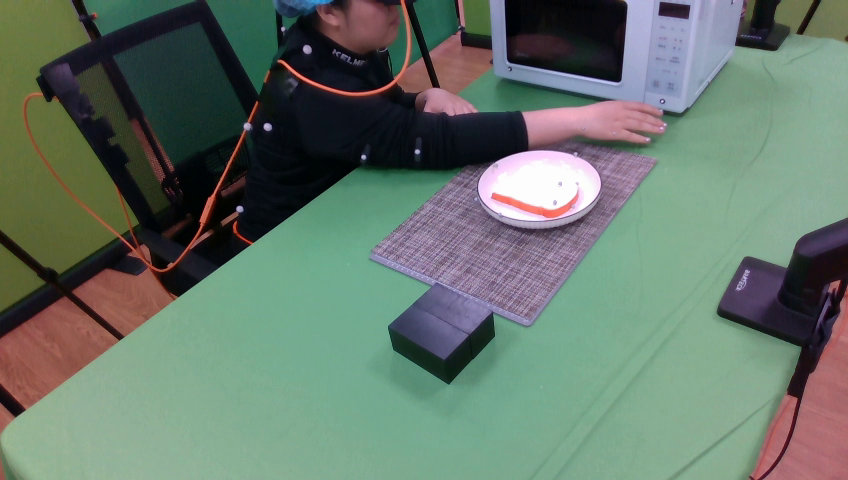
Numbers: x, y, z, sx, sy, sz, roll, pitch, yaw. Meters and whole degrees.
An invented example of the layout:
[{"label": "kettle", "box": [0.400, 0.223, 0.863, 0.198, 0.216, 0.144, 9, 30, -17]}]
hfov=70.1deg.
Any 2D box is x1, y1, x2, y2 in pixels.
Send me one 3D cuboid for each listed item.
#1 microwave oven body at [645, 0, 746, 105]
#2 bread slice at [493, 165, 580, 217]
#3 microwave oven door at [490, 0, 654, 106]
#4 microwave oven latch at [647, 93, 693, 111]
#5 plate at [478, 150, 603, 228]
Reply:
[{"label": "microwave oven body", "box": [0.416, -0.486, 1.290, 0.438, 0.261, 0.327, 21, 50, 33]}, {"label": "bread slice", "box": [0.200, -0.084, 1.034, 0.130, 0.019, 0.105, 23, 50, 35]}, {"label": "microwave oven door", "box": [0.293, -0.420, 1.228, 0.353, 0.245, 0.039, 22, 49, 32]}, {"label": "microwave oven latch", "box": [0.477, -0.273, 1.177, 0.078, 0.029, 0.030, 22, 50, 33]}, {"label": "plate", "box": [0.198, -0.084, 1.030, 0.209, 0.038, 0.208, -5, 40, 5]}]
